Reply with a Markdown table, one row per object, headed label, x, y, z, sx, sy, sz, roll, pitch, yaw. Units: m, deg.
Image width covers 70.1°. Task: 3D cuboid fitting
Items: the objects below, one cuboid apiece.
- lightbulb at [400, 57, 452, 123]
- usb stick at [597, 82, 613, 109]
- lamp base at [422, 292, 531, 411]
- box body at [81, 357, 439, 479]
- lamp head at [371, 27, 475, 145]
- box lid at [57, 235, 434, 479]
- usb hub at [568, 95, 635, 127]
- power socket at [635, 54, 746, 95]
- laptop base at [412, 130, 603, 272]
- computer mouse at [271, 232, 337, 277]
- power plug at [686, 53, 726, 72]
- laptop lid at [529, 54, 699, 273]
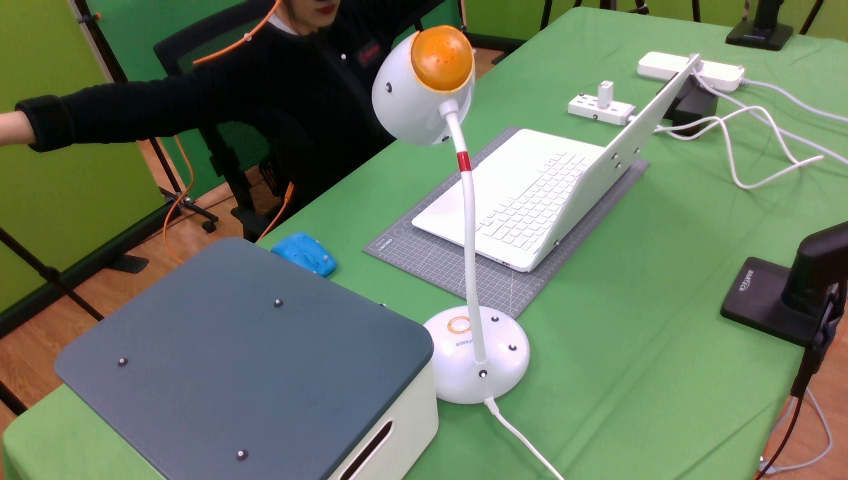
| label | x | y | z | sx | sy | sz | roll | pitch | yaw |
| --- | --- | --- | --- | --- | --- | --- | --- | --- | --- |
| lightbulb | 0.003 | -0.169 | 0.668 | 0.059 | 0.108 | 0.059 | 0 | 79 | -1 |
| usb stick | 0.360 | -0.281 | 1.204 | 0.021 | 0.059 | 0.027 | 23 | 49 | 33 |
| lamp base | 0.054 | 0.095 | 0.740 | 0.161 | 0.181 | 0.177 | -19 | 43 | -11 |
| box body | -0.189 | 0.178 | 0.702 | 0.361 | 0.161 | 0.255 | 22 | 49 | 32 |
| lamp head | 0.007 | -0.167 | 0.644 | 0.113 | 0.112 | 0.122 | -22 | 2 | -14 |
| box lid | -0.198 | 0.123 | 0.653 | 0.368 | 0.015 | 0.264 | 22 | 49 | 32 |
| usb hub | 0.360 | -0.263 | 1.228 | 0.124 | 0.025 | 0.049 | 24 | 49 | 33 |
| power socket | 0.564 | -0.357 | 1.293 | 0.225 | 0.033 | 0.072 | 24 | 51 | 33 |
| laptop base | 0.176 | -0.083 | 1.055 | 0.233 | 0.023 | 0.355 | 21 | 48 | 36 |
| computer mouse | -0.197 | 0.026 | 0.983 | 0.063 | 0.041 | 0.116 | -33 | 49 | -28 |
| power plug | 0.584 | -0.361 | 1.260 | 0.072 | 0.053 | 0.035 | 14 | 55 | 16 |
| laptop lid | 0.283 | -0.114 | 0.897 | 0.013 | 0.242 | 0.358 | 38 | 55 | 17 |
